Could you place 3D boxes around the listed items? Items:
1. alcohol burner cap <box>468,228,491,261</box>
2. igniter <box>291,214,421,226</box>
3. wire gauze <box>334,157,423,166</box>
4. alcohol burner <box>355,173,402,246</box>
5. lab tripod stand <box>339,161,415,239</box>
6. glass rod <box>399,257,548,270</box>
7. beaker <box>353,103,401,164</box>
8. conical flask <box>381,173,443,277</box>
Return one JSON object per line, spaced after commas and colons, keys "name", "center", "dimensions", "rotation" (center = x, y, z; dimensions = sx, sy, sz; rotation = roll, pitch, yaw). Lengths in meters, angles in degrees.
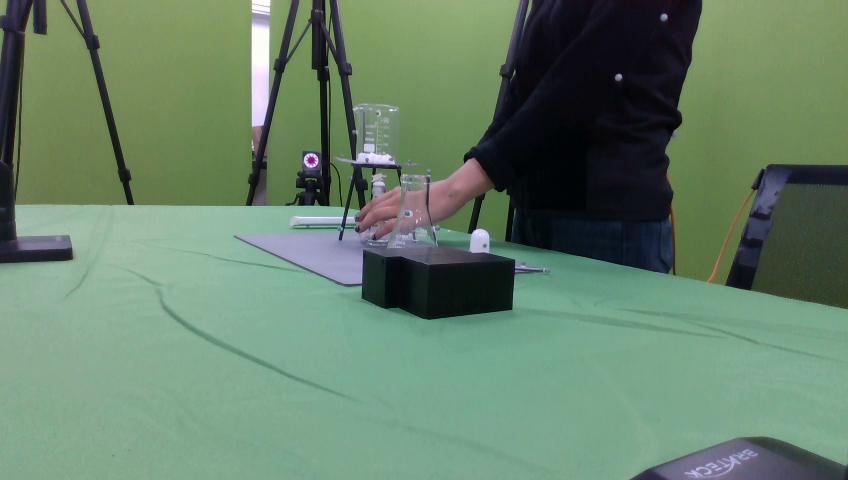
{"name": "alcohol burner cap", "center": [0.082, 0.006, 0.878], "dimensions": [0.034, 0.048, 0.034], "rotation": [3, 7, 0]}
{"name": "igniter", "center": [-0.135, -0.041, 1.250], "dimensions": [0.278, 0.025, 0.057], "rotation": [-1, -3, -28]}
{"name": "wire gauze", "center": [-0.081, -0.135, 1.051], "dimensions": [0.122, 0.011, 0.124], "rotation": [2, 6, -30]}
{"name": "alcohol burner", "center": [-0.074, -0.051, 0.988], "dimensions": [0.078, 0.119, 0.078], "rotation": [4, 9, 0]}
{"name": "lab tripod stand", "center": [-0.082, -0.070, 1.059], "dimensions": [0.148, 0.131, 0.148], "rotation": [4, 6, 0]}
{"name": "glass rod", "center": [0.064, 0.031, 0.806], "dimensions": [0.199, 0.008, 0.008], "rotation": [3, 7, 10]}
{"name": "beaker", "center": [-0.084, -0.183, 1.045], "dimensions": [0.084, 0.100, 0.074], "rotation": [4, 6, 3]}
{"name": "conical flask", "center": [-0.012, -0.020, 0.731], "dimensions": [0.075, 0.122, 0.075], "rotation": [2, 7, 0]}
